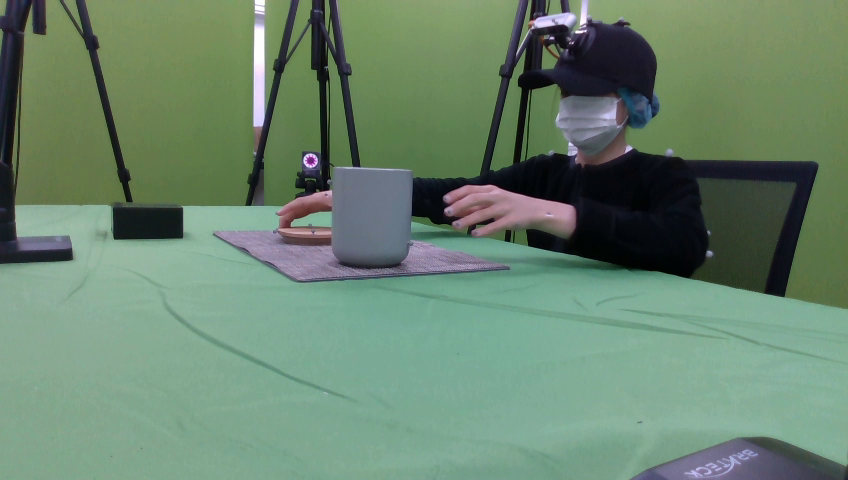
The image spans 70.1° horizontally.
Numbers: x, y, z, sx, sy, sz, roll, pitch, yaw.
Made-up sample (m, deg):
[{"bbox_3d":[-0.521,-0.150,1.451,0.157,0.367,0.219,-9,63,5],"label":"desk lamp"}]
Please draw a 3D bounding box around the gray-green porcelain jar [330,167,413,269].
[{"bbox_3d":[-0.069,-0.030,0.791,0.106,0.126,0.106,3,7,0],"label":"gray-green porcelain jar"}]

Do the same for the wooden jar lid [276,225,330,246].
[{"bbox_3d":[-0.183,-0.007,0.979,0.108,0.020,0.108,2,10,0],"label":"wooden jar lid"}]
